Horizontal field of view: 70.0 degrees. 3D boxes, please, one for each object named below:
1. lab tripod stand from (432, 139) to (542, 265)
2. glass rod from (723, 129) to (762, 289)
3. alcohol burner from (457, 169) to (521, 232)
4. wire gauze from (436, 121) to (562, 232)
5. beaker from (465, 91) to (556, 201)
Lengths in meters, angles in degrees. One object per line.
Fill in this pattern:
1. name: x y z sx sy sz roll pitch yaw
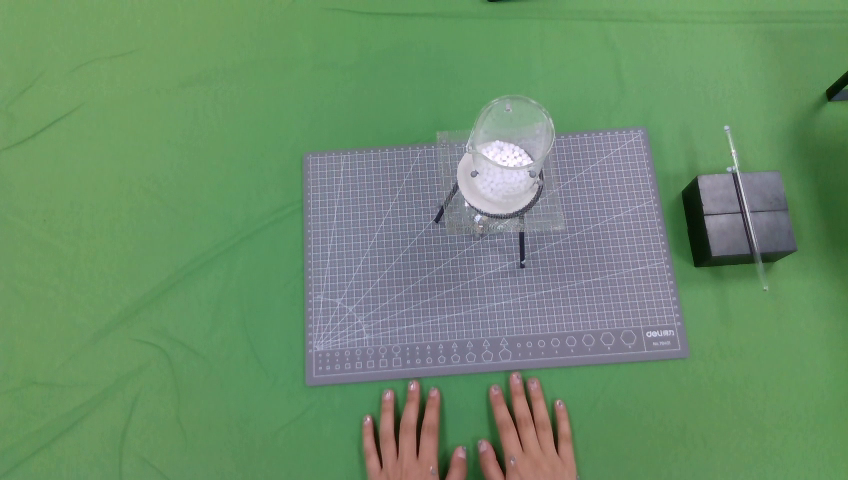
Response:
1. lab tripod stand: 0.082 -0.052 0.698 0.148 0.132 0.147 0 72 2
2. glass rod: 0.372 -0.039 0.708 0.008 0.008 0.198 -4 74 0
3. alcohol burner: 0.078 -0.052 0.709 0.078 0.119 0.077 0 75 1
4. wire gauze: 0.077 -0.066 0.634 0.125 0.011 0.121 -3 74 -2
5. beaker: 0.078 -0.084 0.589 0.084 0.101 0.073 -20 74 -5
